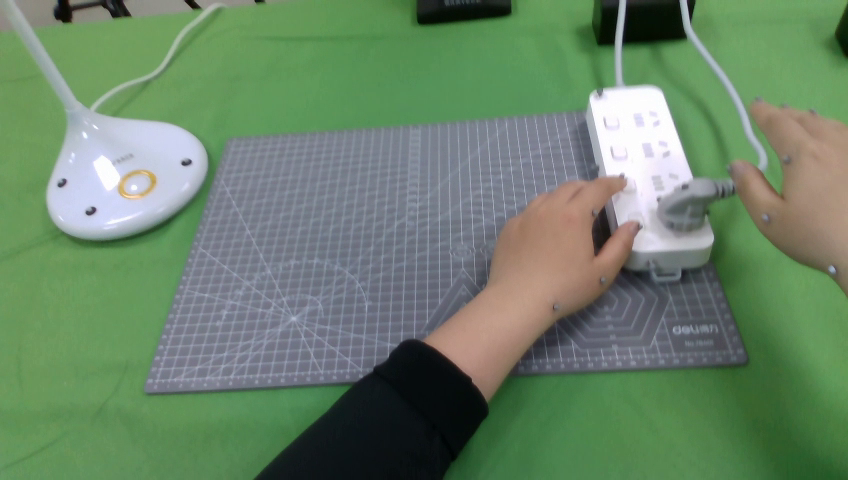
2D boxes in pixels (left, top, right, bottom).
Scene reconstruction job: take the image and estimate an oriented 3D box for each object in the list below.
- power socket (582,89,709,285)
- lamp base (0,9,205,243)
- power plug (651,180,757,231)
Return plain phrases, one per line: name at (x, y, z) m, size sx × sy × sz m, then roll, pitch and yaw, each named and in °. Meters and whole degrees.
power socket at (0.190, -0.060, 0.539) m, size 0.072 × 0.033 × 0.224 m, roll -2°, pitch 50°, yaw 5°
lamp base at (-0.321, -0.114, 0.562) m, size 0.177 × 0.182 × 0.160 m, roll 28°, pitch 59°, yaw 31°
power plug at (0.215, -0.020, 0.471) m, size 0.072 × 0.053 × 0.035 m, roll 7°, pitch 50°, yaw 12°
